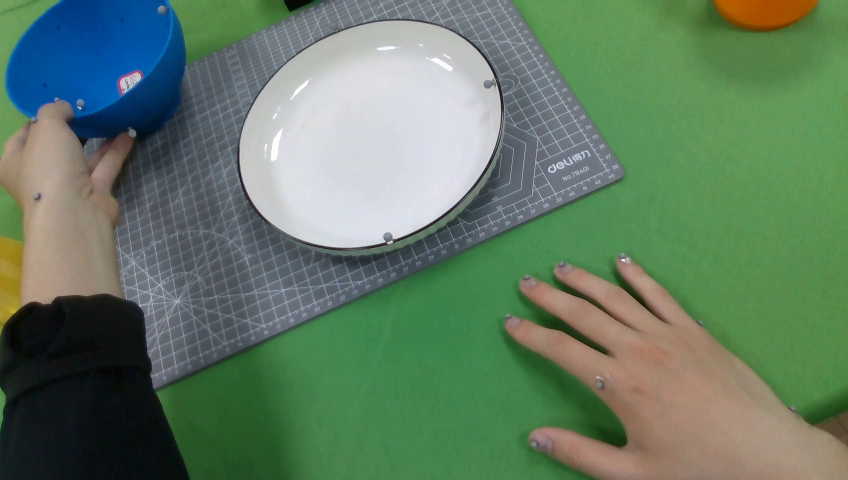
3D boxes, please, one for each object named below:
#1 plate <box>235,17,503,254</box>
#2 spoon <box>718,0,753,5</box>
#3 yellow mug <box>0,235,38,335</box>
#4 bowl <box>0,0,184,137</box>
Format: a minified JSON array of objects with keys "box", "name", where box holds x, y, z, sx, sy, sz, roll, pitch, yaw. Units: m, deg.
[{"box":[-0.042,-0.080,0.465,0.209,0.038,0.207,-5,64,11],"name":"plate"},{"box":[0.280,-0.233,0.400,0.022,0.194,0.041,1,60,-36],"name":"spoon"},{"box":[-0.364,0.036,0.476,0.130,0.064,0.099,24,72,21],"name":"yellow mug"},{"box":[-0.268,-0.143,0.526,0.151,0.077,0.150,-4,65,9],"name":"bowl"}]
